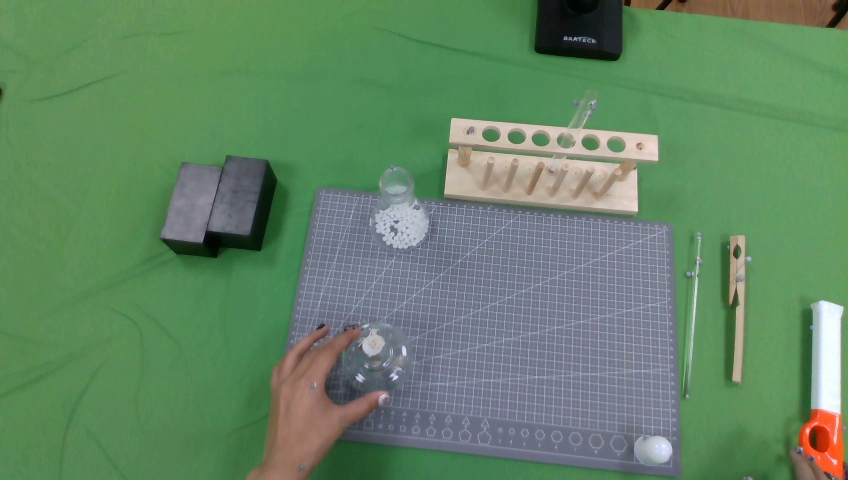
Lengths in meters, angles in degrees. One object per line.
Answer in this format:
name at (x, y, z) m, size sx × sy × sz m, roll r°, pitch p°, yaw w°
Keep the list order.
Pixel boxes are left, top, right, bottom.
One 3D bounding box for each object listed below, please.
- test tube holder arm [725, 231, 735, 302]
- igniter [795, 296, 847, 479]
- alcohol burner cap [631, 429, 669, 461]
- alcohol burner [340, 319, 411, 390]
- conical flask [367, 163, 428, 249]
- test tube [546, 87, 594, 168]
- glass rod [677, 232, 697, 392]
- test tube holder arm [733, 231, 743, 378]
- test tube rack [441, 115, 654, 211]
test tube holder arm at (0.372, 0.032, 0.734) m, size 0.010 × 0.015 × 0.087 m, roll -5°, pitch 66°, yaw 35°
igniter at (0.438, 0.195, 0.669) m, size 0.057 × 0.025 × 0.275 m, roll 17°, pitch 70°, yaw -5°
alcohol burner cap at (0.244, 0.217, 0.646) m, size 0.034 × 0.048 × 0.033 m, roll 0°, pitch 68°, yaw 0°
alcohol burner at (-0.053, 0.117, 0.641) m, size 0.078 × 0.120 × 0.077 m, roll 0°, pitch 68°, yaw 1°
conical flask at (-0.033, -0.043, 0.696) m, size 0.075 × 0.122 × 0.075 m, roll 0°, pitch 69°, yaw 0°
test tube at (0.166, -0.126, 0.701) m, size 0.017 × 0.151 × 0.017 m, roll 2°, pitch 67°, yaw -3°
glass rod at (0.312, 0.082, 0.719) m, size 0.008 × 0.008 × 0.198 m, roll 12°, pitch 72°, yaw 4°
test tube holder arm at (0.370, 0.073, 0.716) m, size 0.013 × 0.015 × 0.177 m, roll -6°, pitch 65°, yaw 35°
test tube rack at (0.145, -0.092, 0.741) m, size 0.242 × 0.086 × 0.066 m, roll 5°, pitch 69°, yaw 1°
